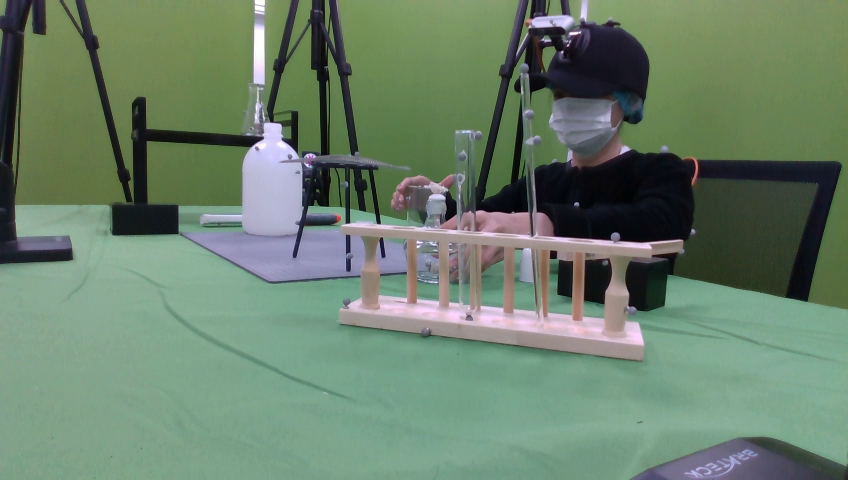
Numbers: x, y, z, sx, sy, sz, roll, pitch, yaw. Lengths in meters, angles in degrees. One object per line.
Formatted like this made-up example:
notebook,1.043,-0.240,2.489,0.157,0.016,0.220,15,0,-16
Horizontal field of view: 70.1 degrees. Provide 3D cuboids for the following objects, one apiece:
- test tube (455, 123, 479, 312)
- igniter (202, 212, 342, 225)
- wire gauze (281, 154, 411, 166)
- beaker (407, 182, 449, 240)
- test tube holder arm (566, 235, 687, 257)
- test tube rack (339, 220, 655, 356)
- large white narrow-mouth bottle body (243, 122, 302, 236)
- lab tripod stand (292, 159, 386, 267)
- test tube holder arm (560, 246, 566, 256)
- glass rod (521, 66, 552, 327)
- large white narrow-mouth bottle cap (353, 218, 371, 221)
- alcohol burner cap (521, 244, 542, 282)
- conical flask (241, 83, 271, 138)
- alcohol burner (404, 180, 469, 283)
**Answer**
test tube,0.034,-0.016,0.476,0.017,0.150,0.017,-2,10,1
igniter,-0.298,-0.043,1.216,0.278,0.025,0.057,-3,-2,-32
wire gauze,-0.102,-0.105,0.785,0.121,0.011,0.126,7,8,43
beaker,0.008,-0.053,1.101,0.074,0.100,0.083,-6,13,-44
test tube holder arm,0.215,0.006,0.630,0.179,0.015,0.013,-3,9,-30
test tube rack,0.056,0.032,0.495,0.242,0.085,0.067,4,7,15
large white narrow-mouth bottle body,-0.264,-0.109,1.061,0.102,0.194,0.102,2,8,0
lab tripod stand,-0.105,-0.039,0.797,0.148,0.131,0.148,2,5,0
test tube holder arm,0.173,0.007,0.611,0.088,0.015,0.010,-3,9,-30
glass rod,0.085,-0.028,0.454,0.008,0.199,0.008,-7,10,2
large white narrow-mouth bottle cap,-0.121,-0.029,1.184,0.038,0.024,0.037,2,8,0
alcohol burner cap,0.136,0.025,0.740,0.034,0.048,0.034,1,5,0
conical flask,-0.384,-0.297,1.393,0.075,0.122,0.075,2,7,0
alcohol burner,0.015,-0.011,0.714,0.078,0.119,0.078,0,7,0
